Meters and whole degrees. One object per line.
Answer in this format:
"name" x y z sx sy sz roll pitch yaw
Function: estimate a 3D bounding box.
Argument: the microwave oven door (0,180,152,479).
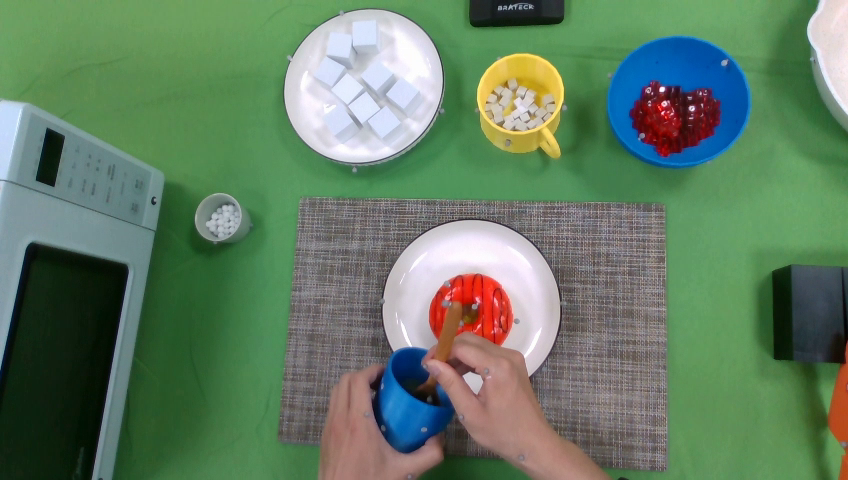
"microwave oven door" -0.401 0.135 0.642 0.039 0.245 0.354 5 81 9

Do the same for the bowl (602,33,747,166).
"bowl" 0.277 -0.149 0.695 0.151 0.077 0.151 -1 81 8

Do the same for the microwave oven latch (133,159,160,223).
"microwave oven latch" -0.361 -0.063 0.773 0.030 0.029 0.079 8 83 9

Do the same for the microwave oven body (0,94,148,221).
"microwave oven body" -0.539 0.082 0.676 0.325 0.261 0.440 5 82 8

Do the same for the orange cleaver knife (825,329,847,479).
"orange cleaver knife" 0.429 0.184 0.616 0.012 0.077 0.212 1 109 9

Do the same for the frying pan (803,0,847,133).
"frying pan" 0.552 -0.113 0.636 0.306 0.103 0.485 7 74 10

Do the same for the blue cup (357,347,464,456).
"blue cup" -0.021 0.170 0.611 0.092 0.093 0.100 48 131 13

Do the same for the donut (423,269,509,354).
"donut" 0.048 0.082 0.695 0.099 0.048 0.099 -1 84 10

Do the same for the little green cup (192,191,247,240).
"little green cup" -0.257 -0.029 0.771 0.061 0.039 0.061 -1 82 7

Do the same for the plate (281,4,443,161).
"plate" -0.077 -0.197 0.774 0.207 0.039 0.207 -1 80 8

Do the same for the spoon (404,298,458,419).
"spoon" 0.007 0.120 0.564 0.041 0.195 0.021 17 46 1

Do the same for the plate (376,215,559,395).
"plate" 0.049 0.075 0.707 0.209 0.038 0.208 -1 81 8

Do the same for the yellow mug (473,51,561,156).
"yellow mug" 0.120 -0.154 0.724 0.100 0.064 0.130 -35 78 2
